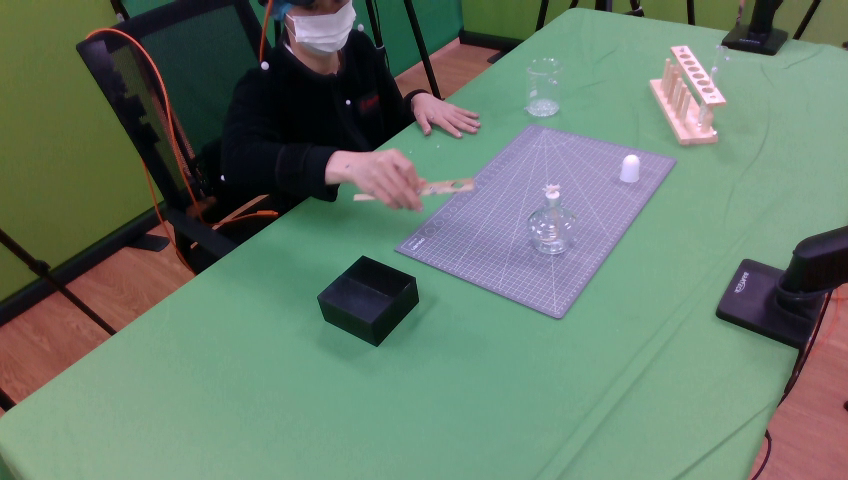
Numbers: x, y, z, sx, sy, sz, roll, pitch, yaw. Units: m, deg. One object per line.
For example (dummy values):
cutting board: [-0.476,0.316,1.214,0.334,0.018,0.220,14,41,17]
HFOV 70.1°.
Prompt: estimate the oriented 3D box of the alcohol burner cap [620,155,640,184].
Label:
alcohol burner cap: [0.358,-0.124,1.047,0.034,0.048,0.033,-4,40,4]

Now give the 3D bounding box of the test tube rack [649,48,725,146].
test tube rack: [0.508,-0.285,1.186,0.067,0.085,0.241,-4,40,6]

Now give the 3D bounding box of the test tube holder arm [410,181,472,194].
test tube holder arm: [0.023,-0.072,0.838,0.087,0.010,0.015,-6,-5,18]

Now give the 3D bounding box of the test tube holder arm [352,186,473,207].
test tube holder arm: [-0.019,-0.061,0.851,0.178,0.013,0.015,-7,-5,18]

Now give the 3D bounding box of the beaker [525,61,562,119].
beaker: [0.248,-0.308,1.246,0.073,0.101,0.084,29,52,36]

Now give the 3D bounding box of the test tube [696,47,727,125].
test tube: [0.519,-0.276,1.094,0.017,0.151,0.017,-1,42,2]

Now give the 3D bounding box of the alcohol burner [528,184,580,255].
alcohol burner: [0.196,-0.036,0.911,0.078,0.119,0.077,-6,41,5]
